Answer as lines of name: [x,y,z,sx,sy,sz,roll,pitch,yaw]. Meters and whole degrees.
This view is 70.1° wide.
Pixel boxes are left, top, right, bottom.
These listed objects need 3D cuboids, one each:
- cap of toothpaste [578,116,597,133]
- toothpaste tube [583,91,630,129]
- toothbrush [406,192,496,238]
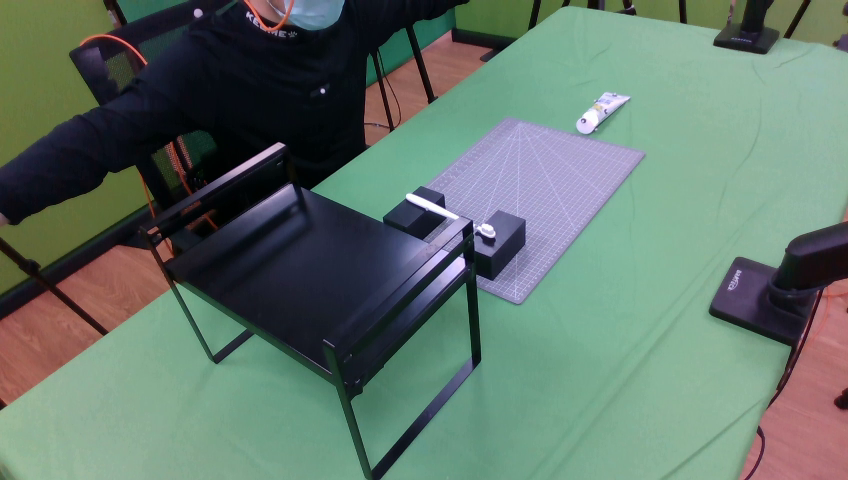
cap of toothpaste: [0.316,-0.225,1.172,0.037,0.037,0.011,15,45,24]
toothpaste tube: [0.364,-0.266,1.223,0.054,0.034,0.165,25,46,24]
toothbrush: [0.038,-0.043,0.937,0.180,0.017,0.014,26,63,35]
